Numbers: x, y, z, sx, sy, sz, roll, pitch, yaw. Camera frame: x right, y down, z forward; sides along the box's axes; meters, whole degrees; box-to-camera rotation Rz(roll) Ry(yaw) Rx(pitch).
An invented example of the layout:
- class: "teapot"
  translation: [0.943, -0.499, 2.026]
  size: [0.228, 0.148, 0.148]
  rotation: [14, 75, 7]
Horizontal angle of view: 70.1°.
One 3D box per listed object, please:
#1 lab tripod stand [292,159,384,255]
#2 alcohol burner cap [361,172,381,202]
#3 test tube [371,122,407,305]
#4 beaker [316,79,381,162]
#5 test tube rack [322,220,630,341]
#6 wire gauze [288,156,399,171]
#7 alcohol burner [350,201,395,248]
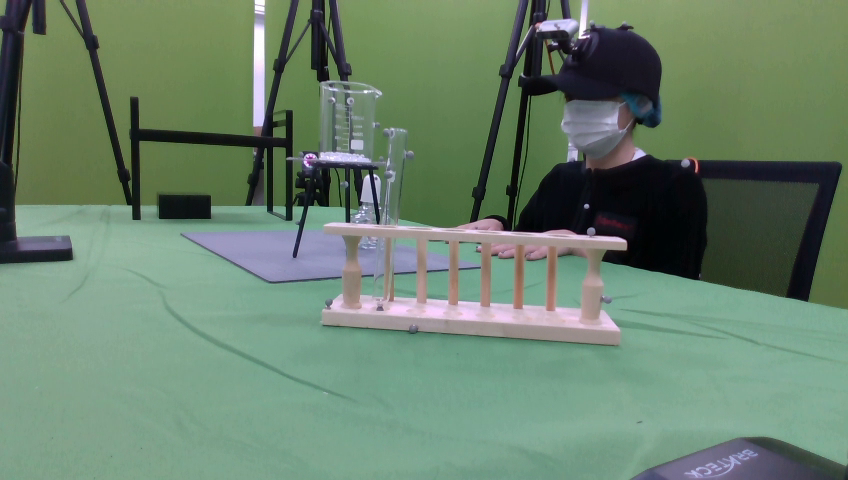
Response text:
- class: "lab tripod stand"
  translation: [-0.105, -0.039, 0.797]
  size: [0.148, 0.131, 0.148]
  rotation: [2, 5, 0]
- class: "alcohol burner cap"
  translation: [-0.081, -0.084, 0.949]
  size: [0.034, 0.048, 0.034]
  rotation: [7, 7, -1]
- class: "test tube"
  translation: [-0.029, -0.020, 0.493]
  size: [0.017, 0.150, 0.017]
  rotation: [6, 9, -1]
- class: "beaker"
  translation: [-0.098, -0.151, 0.778]
  size: [0.084, 0.100, 0.074]
  rotation: [4, 7, 6]
- class: "test tube rack"
  translation: [0.041, 0.029, 0.512]
  size: [0.242, 0.085, 0.067]
  rotation: [3, 7, 5]
- class: "wire gauze"
  translation: [-0.101, -0.103, 0.788]
  size: [0.121, 0.011, 0.125]
  rotation: [6, 4, 6]
- class: "alcohol burner"
  translation: [-0.084, -0.048, 0.953]
  size: [0.078, 0.119, 0.078]
  rotation: [1, 6, 0]
